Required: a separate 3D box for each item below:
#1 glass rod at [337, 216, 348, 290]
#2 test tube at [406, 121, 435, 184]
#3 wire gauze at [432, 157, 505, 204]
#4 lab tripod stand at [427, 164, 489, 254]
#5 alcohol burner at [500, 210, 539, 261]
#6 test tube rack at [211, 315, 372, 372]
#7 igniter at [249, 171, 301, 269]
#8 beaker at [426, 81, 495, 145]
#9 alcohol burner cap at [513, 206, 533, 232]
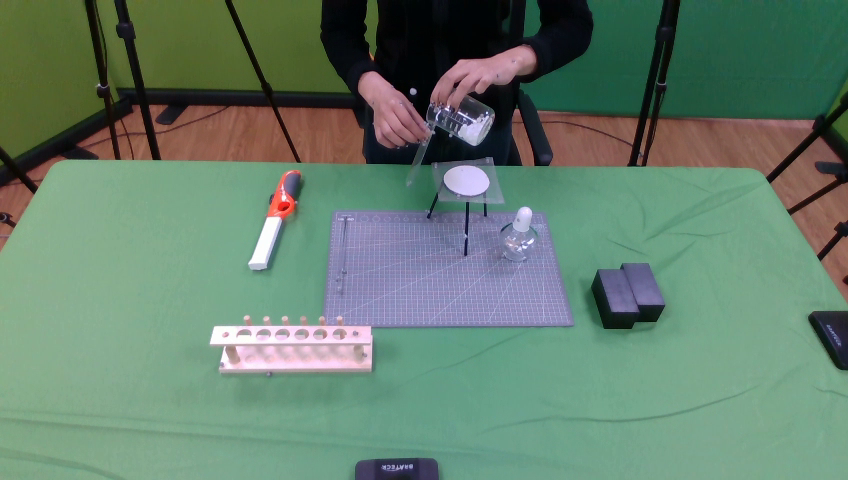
[{"bbox_3d":[-0.158,0.021,1.171,0.008,0.008,0.198,1,43,-2],"label":"glass rod"},{"bbox_3d":[-0.008,-0.159,1.127,0.017,0.151,0.017,12,46,-12],"label":"test tube"},{"bbox_3d":[0.081,-0.112,1.137,0.125,0.011,0.120,-2,48,-6],"label":"wire gauze"},{"bbox_3d":[0.078,-0.068,1.188,0.148,0.132,0.147,3,47,-3],"label":"lab tripod stand"},{"bbox_3d":[0.185,-0.016,1.159,0.078,0.120,0.077,2,48,-2],"label":"alcohol burner"},{"bbox_3d":[-0.208,0.163,0.982,0.242,0.085,0.066,1,46,-4],"label":"test tube rack"},{"bbox_3d":[-0.297,-0.049,1.221,0.057,0.025,0.275,-1,45,9],"label":"igniter"},{"bbox_3d":[0.064,-0.213,1.041,0.100,0.084,0.074,31,39,12],"label":"beaker"},{"bbox_3d":[0.187,-0.042,1.134,0.034,0.048,0.033,6,41,-5],"label":"alcohol burner cap"}]
